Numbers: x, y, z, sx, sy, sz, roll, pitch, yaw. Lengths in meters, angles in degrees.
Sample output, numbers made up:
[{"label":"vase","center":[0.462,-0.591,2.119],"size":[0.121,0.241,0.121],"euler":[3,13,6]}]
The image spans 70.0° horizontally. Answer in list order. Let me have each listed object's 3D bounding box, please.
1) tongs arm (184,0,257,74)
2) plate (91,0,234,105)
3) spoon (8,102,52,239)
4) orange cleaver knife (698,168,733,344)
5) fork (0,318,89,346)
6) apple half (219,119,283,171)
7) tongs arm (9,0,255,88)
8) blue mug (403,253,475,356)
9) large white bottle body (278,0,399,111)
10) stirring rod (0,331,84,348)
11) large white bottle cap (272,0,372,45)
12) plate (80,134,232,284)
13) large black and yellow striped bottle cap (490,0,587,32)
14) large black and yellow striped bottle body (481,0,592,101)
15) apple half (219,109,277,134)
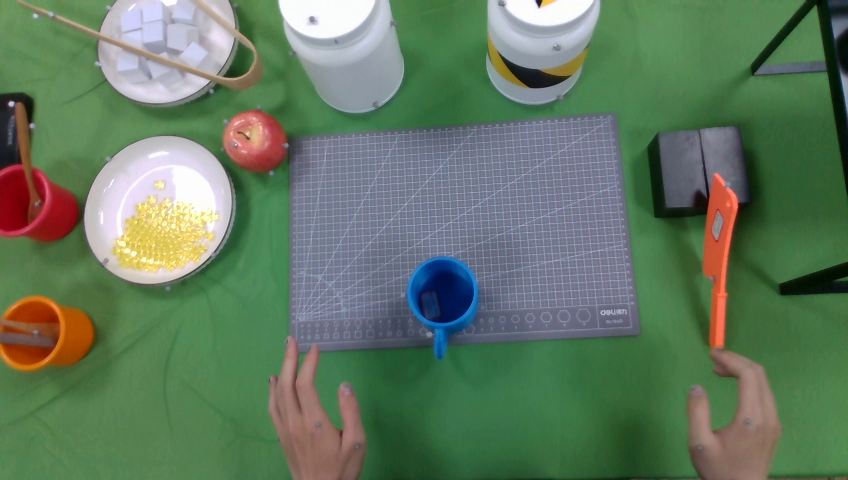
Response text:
[{"label":"tongs arm","center":[-0.369,-0.355,0.858],"size":[0.385,0.028,0.028],"euler":[38,78,13]},{"label":"plate","center":[-0.372,-0.289,0.876],"size":[0.207,0.039,0.206],"euler":[-1,79,4]},{"label":"spoon","center":[-0.520,-0.086,0.793],"size":[0.041,0.021,0.195],"euler":[17,125,8]},{"label":"orange cleaver knife","center":[0.347,0.021,0.732],"size":[0.012,0.077,0.212],"euler":[-4,109,3]},{"label":"fork","center":[-0.531,0.100,0.754],"size":[0.209,0.018,0.028],"euler":[22,77,-35]},{"label":"apple half","center":[-0.227,-0.121,0.814],"size":[0.081,0.075,0.053],"euler":[-17,82,-2]},{"label":"tongs arm","center":[-0.413,-0.285,0.845],"size":[0.383,0.027,0.050],"euler":[24,78,11]},{"label":"blue mug","center":[0.020,0.082,0.734],"size":[0.082,0.106,0.116],"euler":[4,79,6]},{"label":"large white bottle body","center":[-0.108,-0.260,0.774],"size":[0.130,0.185,0.130],"euler":[-1,78,5]},{"label":"stirring rod","center":[-0.522,0.120,0.752],"size":[0.177,0.006,0.014],"euler":[13,64,-34]},{"label":"large white bottle cap","center":[-0.116,-0.278,0.691],"size":[0.115,0.018,0.114],"euler":[-1,78,5]},{"label":"plate","center":[-0.359,-0.041,0.826],"size":[0.209,0.038,0.208],"euler":[-1,79,5]},{"label":"large black and yellow striped bottle cap","center":[0.128,-0.288,0.675],"size":[0.115,0.019,0.114],"euler":[-1,80,4]},{"label":"large black and yellow striped bottle body","center":[0.136,-0.269,0.757],"size":[0.130,0.185,0.130],"euler":[-1,78,5]},{"label":"apple half","center":[-0.239,-0.157,0.820],"size":[0.081,0.081,0.032],"euler":[-18,82,1]}]
